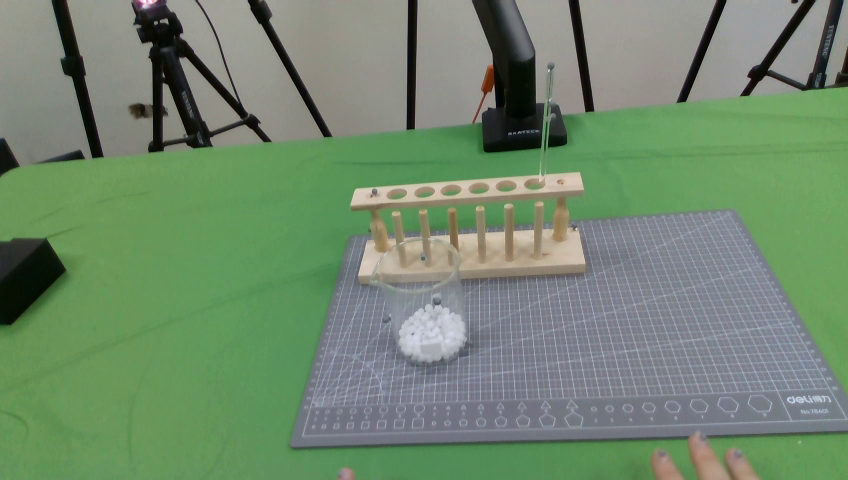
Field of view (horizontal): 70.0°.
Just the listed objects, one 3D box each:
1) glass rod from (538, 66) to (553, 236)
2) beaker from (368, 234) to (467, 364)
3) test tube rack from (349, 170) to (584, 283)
[{"bbox_3d":[0.120,-0.078,0.606,0.008,0.201,0.008,-3,39,3],"label":"glass rod"},{"bbox_3d":[-0.002,0.058,0.552,0.084,0.101,0.073,-16,37,-8],"label":"beaker"},{"bbox_3d":[0.045,-0.013,0.648,0.242,0.086,0.066,-3,37,8],"label":"test tube rack"}]
